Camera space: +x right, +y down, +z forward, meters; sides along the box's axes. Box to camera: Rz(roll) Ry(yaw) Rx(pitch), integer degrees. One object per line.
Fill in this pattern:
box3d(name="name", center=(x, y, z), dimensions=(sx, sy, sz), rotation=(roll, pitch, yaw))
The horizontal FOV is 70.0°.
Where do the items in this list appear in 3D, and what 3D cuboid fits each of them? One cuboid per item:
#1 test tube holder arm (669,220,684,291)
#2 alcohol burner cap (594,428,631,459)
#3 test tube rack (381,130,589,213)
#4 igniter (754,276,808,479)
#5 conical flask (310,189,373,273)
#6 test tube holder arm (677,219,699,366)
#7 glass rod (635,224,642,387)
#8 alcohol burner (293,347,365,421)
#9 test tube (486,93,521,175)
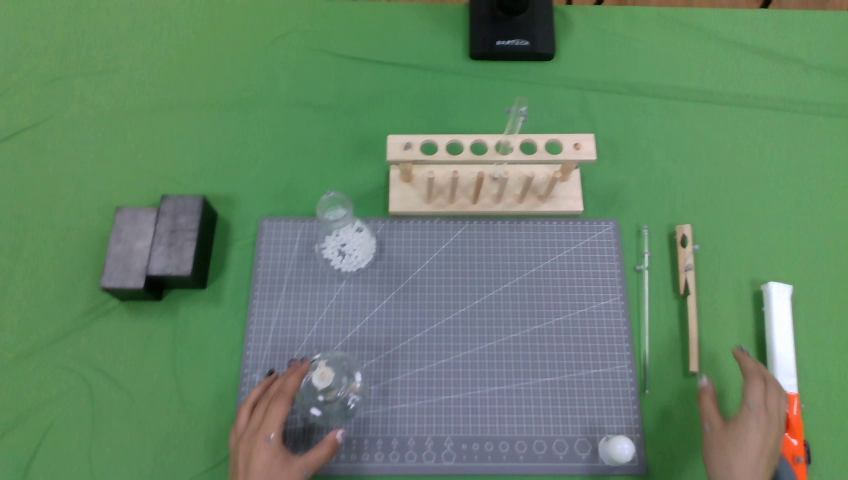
box3d(name="test tube holder arm", center=(0.309, 0.019, 0.738), dimensions=(0.010, 0.015, 0.087), rotation=(-11, 66, 33))
box3d(name="alcohol burner cap", center=(0.203, 0.215, 0.646), dimensions=(0.034, 0.048, 0.033), rotation=(0, 68, 0))
box3d(name="test tube rack", center=(0.071, -0.082, 0.737), dimensions=(0.242, 0.086, 0.066), rotation=(-1, 69, -1))
box3d(name="igniter", center=(0.394, 0.173, 0.675), dimensions=(0.057, 0.025, 0.275), rotation=(11, 69, -7))
box3d(name="conical flask", center=(-0.100, -0.014, 0.686), dimensions=(0.075, 0.122, 0.075), rotation=(0, 69, 0))
box3d(name="test tube holder arm", center=(0.312, 0.060, 0.720), dimensions=(0.013, 0.015, 0.177), rotation=(-12, 66, 33))
box3d(name="glass rod", center=(0.256, 0.074, 0.720), dimensions=(0.008, 0.008, 0.198), rotation=(7, 72, 2))
box3d(name="alcohol burner", center=(-0.102, 0.147, 0.631), dimensions=(0.078, 0.120, 0.077), rotation=(0, 68, 2))
box3d(name="test tube", center=(0.089, -0.117, 0.698), dimensions=(0.017, 0.151, 0.017), rotation=(1, 66, -3))
